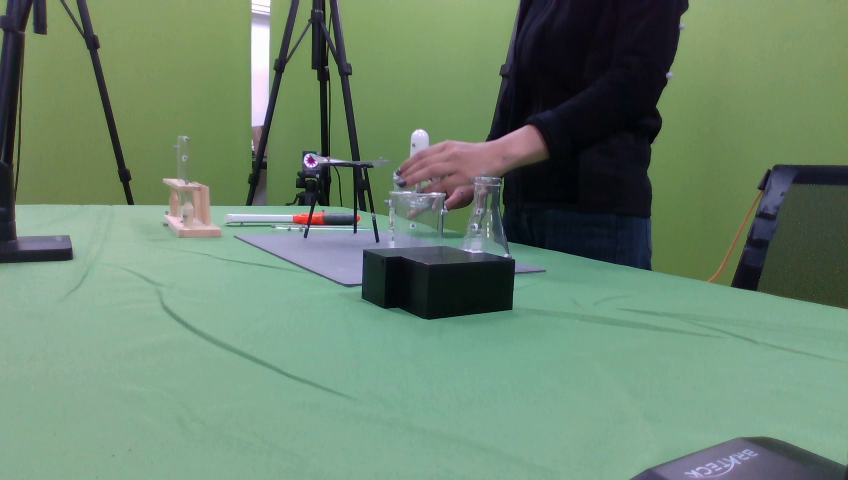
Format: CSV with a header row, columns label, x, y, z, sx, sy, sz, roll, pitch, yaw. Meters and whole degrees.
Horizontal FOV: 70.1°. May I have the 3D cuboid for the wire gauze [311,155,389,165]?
label,x,y,z,sx,sy,sz,roll,pitch,yaw
wire gauze,-0.128,-0.137,1.042,0.122,0.011,0.124,1,8,-18

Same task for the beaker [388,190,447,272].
label,x,y,z,sx,sy,sz,roll,pitch,yaw
beaker,-0.010,-0.013,0.771,0.074,0.100,0.084,3,7,4

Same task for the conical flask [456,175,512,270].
label,x,y,z,sx,sy,sz,roll,pitch,yaw
conical flask,0.082,-0.025,0.801,0.075,0.122,0.075,3,7,0

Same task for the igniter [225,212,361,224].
label,x,y,z,sx,sy,sz,roll,pitch,yaw
igniter,-0.262,-0.044,1.240,0.278,0.025,0.057,-2,-1,-31

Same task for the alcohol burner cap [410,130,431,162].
label,x,y,z,sx,sy,sz,roll,pitch,yaw
alcohol burner cap,-0.006,-0.144,0.922,0.034,0.048,0.034,0,12,0

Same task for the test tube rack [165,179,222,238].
label,x,y,z,sx,sy,sz,roll,pitch,yaw
test tube rack,-0.423,-0.062,1.098,0.067,0.085,0.241,-2,9,-28

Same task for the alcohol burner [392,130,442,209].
label,x,y,z,sx,sy,sz,roll,pitch,yaw
alcohol burner,-0.008,-0.108,0.929,0.078,0.119,0.078,8,11,-1

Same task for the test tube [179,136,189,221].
label,x,y,z,sx,sy,sz,roll,pitch,yaw
test tube,-0.425,-0.108,1.070,0.017,0.150,0.017,4,9,0

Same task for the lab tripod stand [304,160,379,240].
label,x,y,z,sx,sy,sz,roll,pitch,yaw
lab tripod stand,-0.131,-0.071,1.046,0.148,0.131,0.148,4,7,0

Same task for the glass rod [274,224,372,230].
label,x,y,z,sx,sy,sz,roll,pitch,yaw
glass rod,-0.193,-0.024,1.176,0.201,0.008,0.008,1,7,-31
